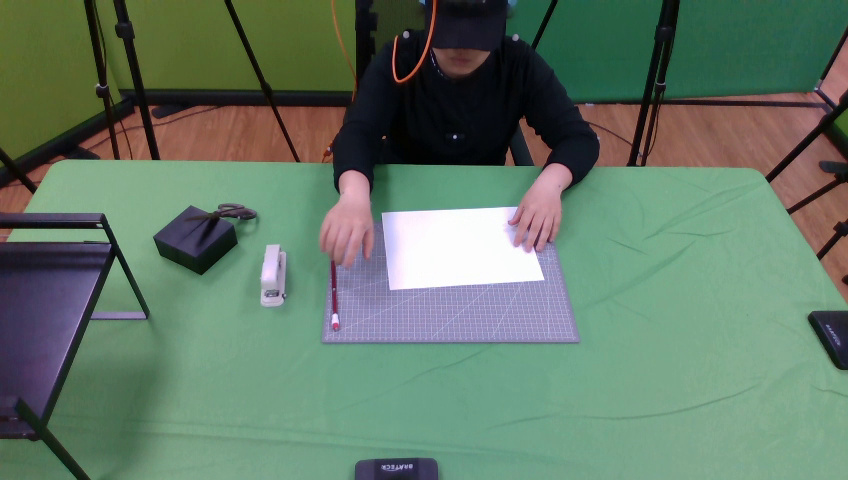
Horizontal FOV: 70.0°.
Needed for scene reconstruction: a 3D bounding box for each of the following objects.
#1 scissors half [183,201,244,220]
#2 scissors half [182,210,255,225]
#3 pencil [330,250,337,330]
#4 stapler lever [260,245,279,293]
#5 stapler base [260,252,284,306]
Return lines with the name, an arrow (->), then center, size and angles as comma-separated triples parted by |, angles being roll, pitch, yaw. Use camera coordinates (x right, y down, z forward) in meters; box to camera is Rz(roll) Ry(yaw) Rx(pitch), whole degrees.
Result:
scissors half -> -0.405, -0.054, 1.163 | 0.040, 0.013, 0.175 | 30, 18, 7
scissors half -> -0.389, -0.042, 1.158 | 0.040, 0.013, 0.175 | 41, 21, 22
pencil -> -0.167, 0.086, 1.107 | 0.012, 0.012, 0.192 | -3, 45, -7
stapler lever -> -0.279, 0.045, 1.096 | 0.027, 0.040, 0.117 | -2, 44, -9
stapler base -> -0.280, 0.064, 1.113 | 0.041, 0.024, 0.129 | -1, 44, -10
